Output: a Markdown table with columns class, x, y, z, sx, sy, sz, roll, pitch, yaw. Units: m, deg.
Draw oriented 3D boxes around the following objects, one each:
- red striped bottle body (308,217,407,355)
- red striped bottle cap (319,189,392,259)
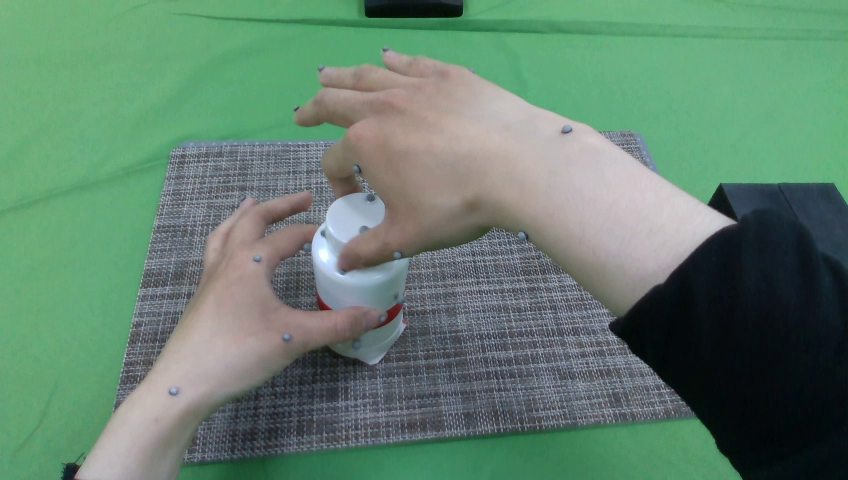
| class | x | y | z | sx | sy | sz | roll | pitch | yaw |
| --- | --- | --- | --- | --- | --- | --- | --- | --- | --- |
| red striped bottle body | -0.045 | 0.023 | 0.410 | 0.063 | 0.120 | 0.062 | 4 | 51 | -5 |
| red striped bottle cap | -0.041 | -0.010 | 0.368 | 0.044 | 0.018 | 0.044 | 6 | 53 | -8 |
